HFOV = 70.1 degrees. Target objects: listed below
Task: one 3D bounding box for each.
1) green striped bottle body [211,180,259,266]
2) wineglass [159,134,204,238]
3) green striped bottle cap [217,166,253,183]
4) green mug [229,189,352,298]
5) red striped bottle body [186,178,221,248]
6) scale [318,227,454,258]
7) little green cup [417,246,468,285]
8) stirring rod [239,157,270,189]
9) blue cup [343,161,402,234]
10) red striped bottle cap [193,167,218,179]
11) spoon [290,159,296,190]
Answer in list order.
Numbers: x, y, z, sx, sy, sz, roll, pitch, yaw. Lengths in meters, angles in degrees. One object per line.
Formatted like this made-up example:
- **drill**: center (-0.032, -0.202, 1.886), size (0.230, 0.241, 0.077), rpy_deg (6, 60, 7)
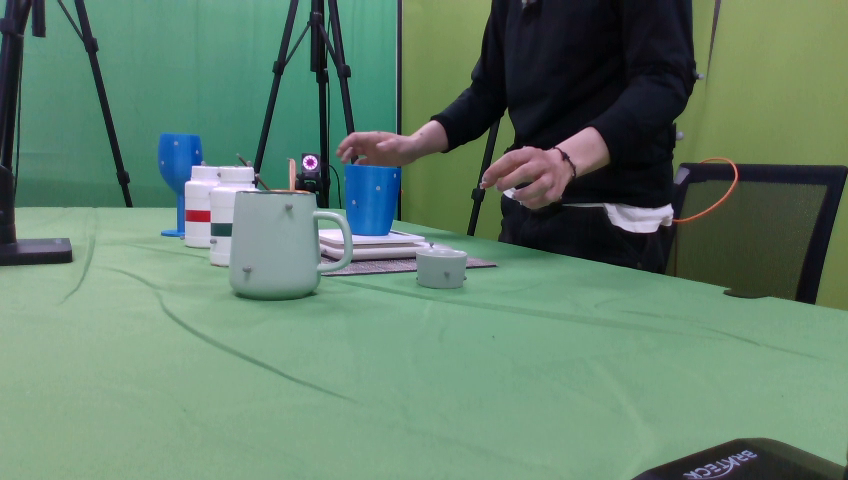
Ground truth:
- **green striped bottle body**: center (-0.243, -0.029, 0.784), size (0.063, 0.119, 0.063), rpy_deg (2, 7, 0)
- **wineglass**: center (-0.415, -0.093, 1.040), size (0.074, 0.172, 0.073), rpy_deg (2, 7, 0)
- **green striped bottle cap**: center (-0.242, -0.085, 0.777), size (0.044, 0.020, 0.044), rpy_deg (2, 8, 0)
- **green mug**: center (-0.135, 0.002, 0.618), size (0.125, 0.105, 0.092), rpy_deg (2, 7, 4)
- **red striped bottle body**: center (-0.331, -0.050, 0.927), size (0.063, 0.119, 0.063), rpy_deg (2, 6, 0)
- **scale**: center (-0.067, 0.001, 0.906), size (0.202, 0.031, 0.148), rpy_deg (-2, 8, -31)
- **little green cup**: center (0.021, 0.029, 0.701), size (0.061, 0.038, 0.061), rpy_deg (1, 6, 0)
- **stirring rod**: center (-0.309, -0.098, 1.209), size (0.006, 0.177, 0.014), rpy_deg (-38, 29, -3)
- **blue cup**: center (-0.078, -0.062, 0.884), size (0.093, 0.100, 0.092), rpy_deg (4, 6, 0)
- **red striped bottle cap**: center (-0.329, -0.103, 0.921), size (0.044, 0.017, 0.044), rpy_deg (-1, 9, 0)
- **spoon**: center (-0.273, -0.102, 1.252), size (0.042, 0.193, 0.021), rpy_deg (7, -38, -17)
